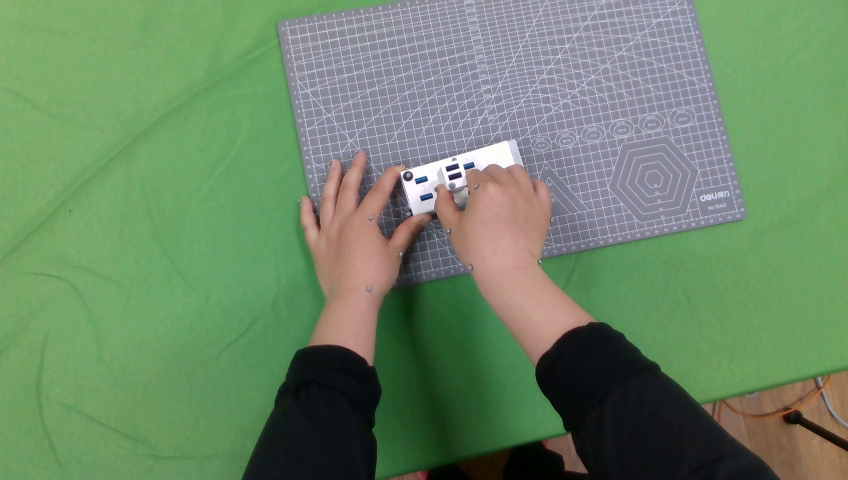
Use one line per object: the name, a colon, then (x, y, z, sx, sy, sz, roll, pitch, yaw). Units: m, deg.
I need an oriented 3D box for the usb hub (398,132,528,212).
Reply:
usb hub: (0.039, -0.071, 0.623, 0.125, 0.025, 0.049, -17, 85, -4)

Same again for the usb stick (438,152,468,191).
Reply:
usb stick: (0.027, -0.064, 0.586, 0.021, 0.059, 0.027, -21, 83, -2)
